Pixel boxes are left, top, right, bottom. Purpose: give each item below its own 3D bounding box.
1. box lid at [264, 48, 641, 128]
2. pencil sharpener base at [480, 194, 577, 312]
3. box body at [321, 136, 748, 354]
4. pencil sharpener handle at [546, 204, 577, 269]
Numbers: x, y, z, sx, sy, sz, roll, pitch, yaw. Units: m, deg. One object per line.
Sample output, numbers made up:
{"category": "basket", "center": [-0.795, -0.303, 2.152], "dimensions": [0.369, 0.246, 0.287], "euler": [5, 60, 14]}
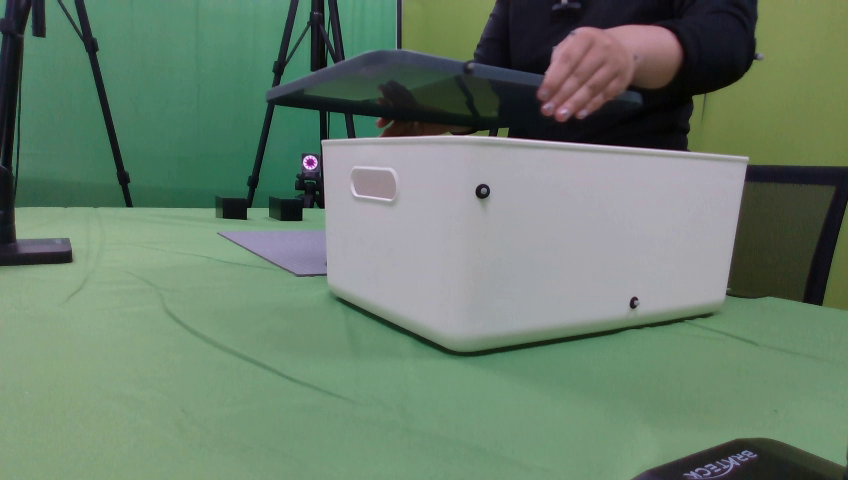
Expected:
{"category": "box lid", "center": [0.034, -0.156, 0.682], "dimensions": [0.374, 0.015, 0.262], "euler": [-2, 4, -37]}
{"category": "pencil sharpener base", "center": [0.103, 0.010, 0.590], "dimensions": [0.077, 0.107, 0.061], "euler": [-2, 8, -33]}
{"category": "box body", "center": [0.105, -0.012, 0.604], "dimensions": [0.366, 0.160, 0.253], "euler": [-2, 8, -33]}
{"category": "pencil sharpener handle", "center": [0.146, -0.003, 0.618], "dimensions": [0.031, 0.067, 0.036], "euler": [-2, 14, -33]}
